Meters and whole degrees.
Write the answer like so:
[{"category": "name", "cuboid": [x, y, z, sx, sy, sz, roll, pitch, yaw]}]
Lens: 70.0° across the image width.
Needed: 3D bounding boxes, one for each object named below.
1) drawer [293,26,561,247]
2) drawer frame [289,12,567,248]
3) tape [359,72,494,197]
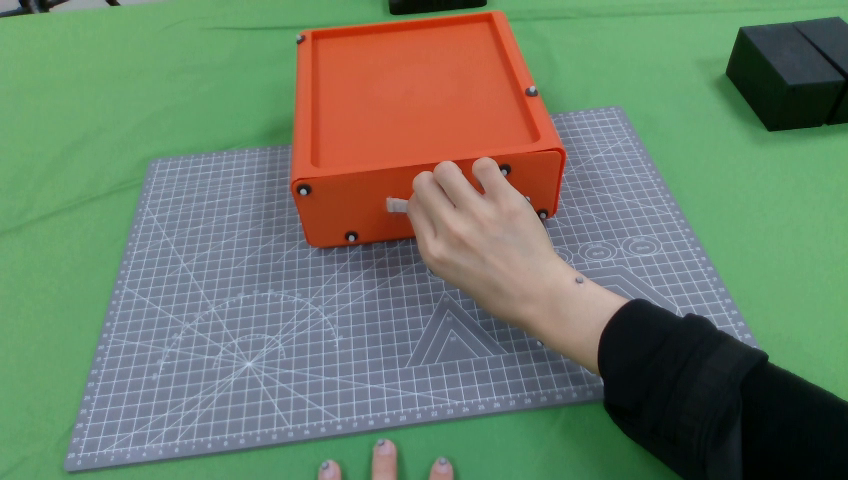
[{"category": "drawer", "cuboid": [-0.006, -0.099, 0.522, 0.194, 0.074, 0.209, -7, 47, -2]}, {"category": "drawer frame", "cuboid": [-0.006, -0.102, 0.522, 0.202, 0.083, 0.211, -8, 47, -3]}, {"category": "tape", "cuboid": [0.002, -0.094, 0.525, 0.117, 0.053, 0.115, -2, 47, 3]}]
